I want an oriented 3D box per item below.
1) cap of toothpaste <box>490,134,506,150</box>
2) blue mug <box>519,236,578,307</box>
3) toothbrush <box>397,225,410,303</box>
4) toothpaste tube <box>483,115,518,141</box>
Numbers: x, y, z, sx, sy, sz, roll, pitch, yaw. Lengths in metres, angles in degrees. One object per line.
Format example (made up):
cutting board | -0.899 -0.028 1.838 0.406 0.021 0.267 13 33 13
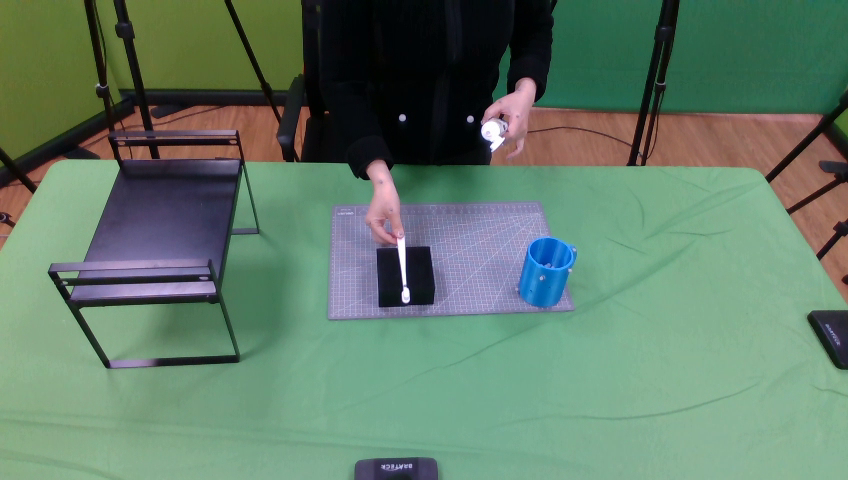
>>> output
cap of toothpaste | 0.129 -0.175 1.071 0.011 0.037 0.037 43 49 -10
blue mug | 0.234 0.051 1.102 0.116 0.106 0.082 -23 52 -24
toothbrush | -0.038 0.038 1.089 0.014 0.017 0.180 -6 47 -1
toothpaste tube | 0.142 -0.217 1.150 0.055 0.034 0.165 26 25 7
